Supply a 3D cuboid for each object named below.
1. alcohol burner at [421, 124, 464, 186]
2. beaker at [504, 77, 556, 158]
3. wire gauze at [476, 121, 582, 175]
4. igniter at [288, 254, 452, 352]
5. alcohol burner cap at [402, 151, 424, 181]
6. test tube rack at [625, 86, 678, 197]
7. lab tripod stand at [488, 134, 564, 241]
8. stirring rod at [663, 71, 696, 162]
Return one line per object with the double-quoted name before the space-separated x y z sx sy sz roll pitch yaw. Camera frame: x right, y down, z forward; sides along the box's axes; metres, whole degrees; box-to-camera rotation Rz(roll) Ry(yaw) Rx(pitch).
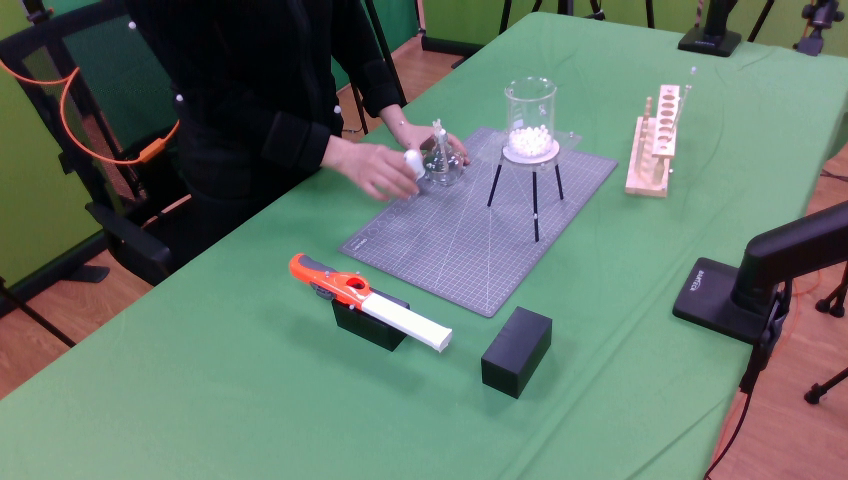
"alcohol burner" 0.032 -0.157 1.083 0.078 0.119 0.077 -5 42 5
"beaker" 0.160 -0.181 0.900 0.084 0.101 0.073 -32 46 -27
"wire gauze" 0.162 -0.142 0.929 0.120 0.011 0.125 19 49 32
"igniter" -0.084 0.079 0.818 0.274 0.025 0.057 23 46 27
"alcohol burner cap" -0.019 -0.122 0.981 0.034 0.048 0.033 -7 43 8
"test tube rack" 0.412 -0.184 1.088 0.066 0.085 0.242 9 43 18
"lab tripod stand" 0.168 -0.092 0.972 0.148 0.132 0.147 -5 41 5
"stirring rod" 0.410 -0.196 0.981 0.014 0.177 0.006 11 50 13
